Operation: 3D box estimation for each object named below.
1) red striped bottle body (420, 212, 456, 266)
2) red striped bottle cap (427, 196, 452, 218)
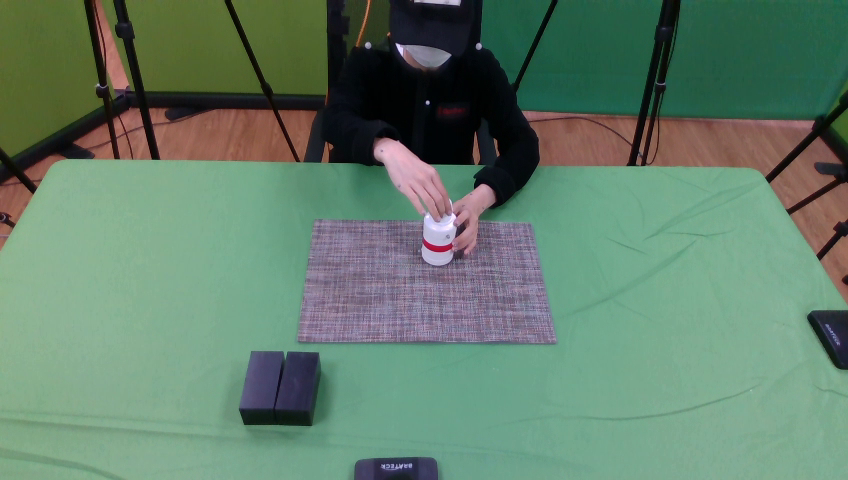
[{"bbox_3d":[0.027,-0.012,1.139,0.063,0.120,0.062,3,45,-2],"label":"red striped bottle body"},{"bbox_3d":[0.028,-0.059,1.087,0.044,0.018,0.044,-4,44,4],"label":"red striped bottle cap"}]
